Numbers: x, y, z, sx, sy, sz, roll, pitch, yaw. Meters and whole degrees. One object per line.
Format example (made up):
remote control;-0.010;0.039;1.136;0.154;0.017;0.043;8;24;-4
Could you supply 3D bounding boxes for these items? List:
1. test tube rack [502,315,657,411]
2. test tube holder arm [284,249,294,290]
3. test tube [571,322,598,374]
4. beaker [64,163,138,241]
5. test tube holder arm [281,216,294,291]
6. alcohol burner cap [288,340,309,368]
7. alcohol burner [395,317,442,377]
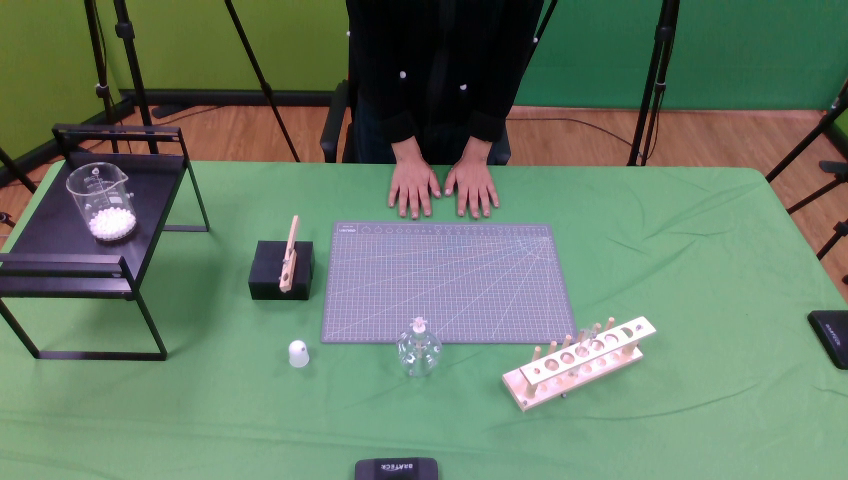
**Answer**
test tube rack;0.253;0.186;0.989;0.242;0.085;0.066;-18;50;-20
test tube holder arm;-0.237;0.052;1.064;0.010;0.015;0.087;-2;45;-3
test tube;0.246;0.169;0.936;0.017;0.151;0.017;-1;53;1
beaker;-0.477;-0.055;0.910;0.084;0.101;0.073;-9;48;-13
test tube holder arm;-0.246;0.020;1.095;0.013;0.015;0.177;-4;45;-4
alcohol burner cap;-0.207;0.183;0.991;0.034;0.048;0.033;3;46;-3
alcohol burner;-0.009;0.166;0.971;0.078;0.120;0.077;0;45;0
